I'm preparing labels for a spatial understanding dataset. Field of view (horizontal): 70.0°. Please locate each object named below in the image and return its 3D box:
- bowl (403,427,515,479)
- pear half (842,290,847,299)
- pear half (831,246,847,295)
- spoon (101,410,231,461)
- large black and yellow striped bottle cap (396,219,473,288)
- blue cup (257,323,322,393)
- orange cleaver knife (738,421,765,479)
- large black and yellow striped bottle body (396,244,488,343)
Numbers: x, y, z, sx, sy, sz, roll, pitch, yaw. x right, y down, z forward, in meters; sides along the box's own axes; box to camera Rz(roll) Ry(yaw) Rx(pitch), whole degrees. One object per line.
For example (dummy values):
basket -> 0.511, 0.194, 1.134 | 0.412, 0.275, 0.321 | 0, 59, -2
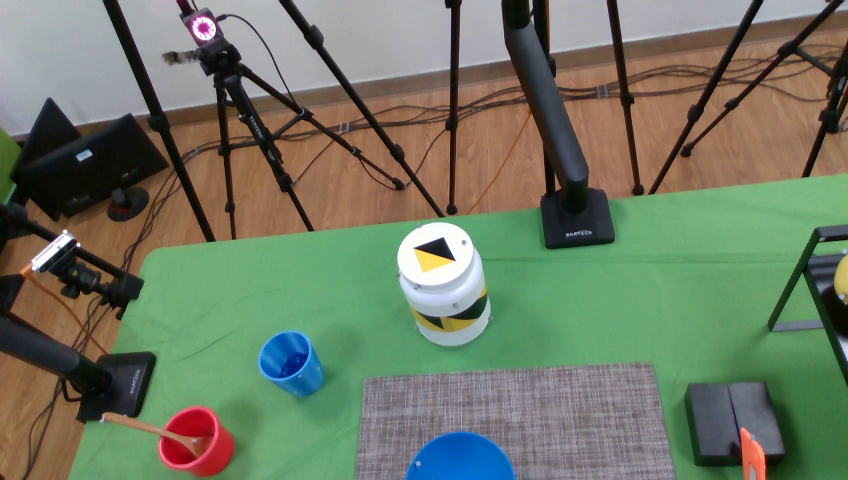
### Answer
bowl -> 0.052, 0.339, 0.819 | 0.151, 0.077, 0.150 | -6, 53, 9
pear half -> 0.526, 0.035, 0.684 | 0.055, 0.111, 0.076 | 25, 68, 28
pear half -> 0.500, 0.026, 0.709 | 0.031, 0.089, 0.070 | 25, 67, 27
spoon -> -0.390, 0.292, 0.923 | 0.195, 0.021, 0.041 | 28, 53, -21
large black and yellow striped bottle cap -> 0.015, 0.018, 0.893 | 0.115, 0.019, 0.114 | -7, 54, 10
blue cup -> -0.208, 0.200, 0.973 | 0.092, 0.101, 0.092 | -5, 55, 8
orange cleaver knife -> 0.410, 0.333, 0.741 | 0.012, 0.077, 0.210 | -6, 83, 7
large black and yellow striped bottle body -> 0.030, 0.067, 0.961 | 0.130, 0.186, 0.129 | -6, 53, 9
